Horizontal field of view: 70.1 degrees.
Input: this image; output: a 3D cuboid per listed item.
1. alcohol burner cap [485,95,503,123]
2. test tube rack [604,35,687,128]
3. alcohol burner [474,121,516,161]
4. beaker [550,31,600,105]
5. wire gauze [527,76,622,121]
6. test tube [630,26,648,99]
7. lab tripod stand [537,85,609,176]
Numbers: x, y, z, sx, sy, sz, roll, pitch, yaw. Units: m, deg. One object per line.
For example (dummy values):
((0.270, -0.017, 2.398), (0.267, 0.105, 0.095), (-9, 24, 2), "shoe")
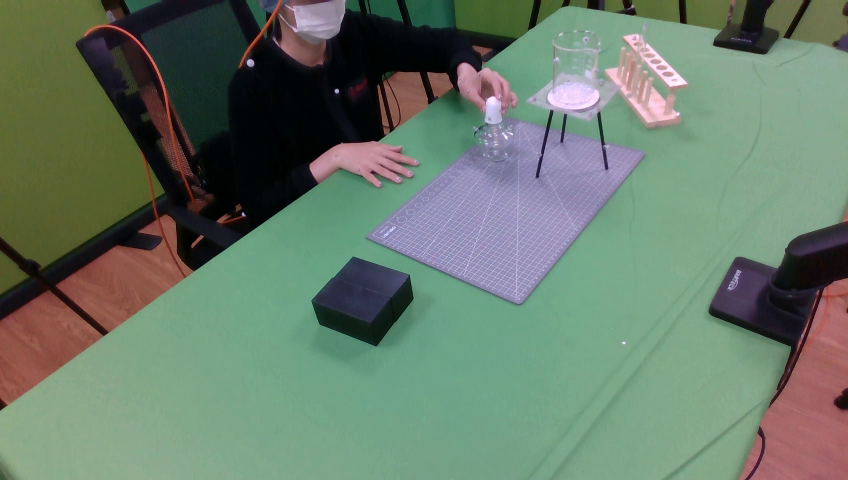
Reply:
((0.127, -0.238, 1.093), (0.034, 0.048, 0.033), (-3, 40, 3), "alcohol burner cap")
((0.447, -0.330, 1.241), (0.067, 0.085, 0.241), (-9, 41, -2), "test tube rack")
((0.131, -0.208, 1.121), (0.078, 0.119, 0.077), (-6, 40, 5), "alcohol burner")
((0.250, -0.281, 0.996), (0.074, 0.101, 0.083), (-37, 49, -27), "beaker")
((0.255, -0.247, 1.030), (0.124, 0.011, 0.122), (23, 49, 34), "wire gauze")
((0.426, -0.350, 1.199), (0.017, 0.151, 0.017), (-4, 42, 4), "test tube")
((0.259, -0.192, 1.068), (0.148, 0.132, 0.147), (-4, 43, 4), "lab tripod stand")
